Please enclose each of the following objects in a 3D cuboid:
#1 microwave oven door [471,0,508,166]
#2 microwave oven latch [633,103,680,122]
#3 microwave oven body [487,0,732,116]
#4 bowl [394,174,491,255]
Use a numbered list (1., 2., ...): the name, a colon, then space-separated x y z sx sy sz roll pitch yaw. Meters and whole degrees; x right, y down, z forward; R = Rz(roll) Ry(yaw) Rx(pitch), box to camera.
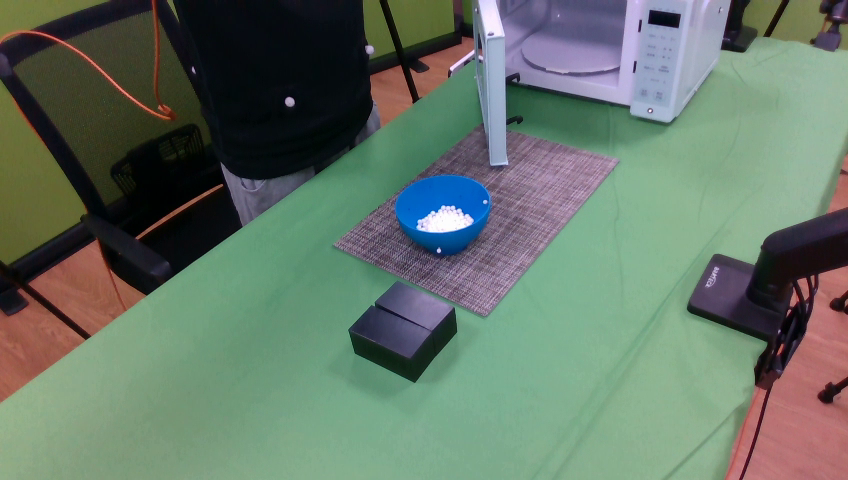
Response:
1. microwave oven door: 0.122 -0.340 1.153 0.039 0.245 0.354 -5 40 3
2. microwave oven latch: 0.443 -0.249 1.157 0.078 0.029 0.030 21 49 30
3. microwave oven body: 0.377 -0.462 1.267 0.438 0.261 0.327 21 49 30
4. bowl: 0.032 -0.030 0.949 0.151 0.077 0.150 -4 40 4
